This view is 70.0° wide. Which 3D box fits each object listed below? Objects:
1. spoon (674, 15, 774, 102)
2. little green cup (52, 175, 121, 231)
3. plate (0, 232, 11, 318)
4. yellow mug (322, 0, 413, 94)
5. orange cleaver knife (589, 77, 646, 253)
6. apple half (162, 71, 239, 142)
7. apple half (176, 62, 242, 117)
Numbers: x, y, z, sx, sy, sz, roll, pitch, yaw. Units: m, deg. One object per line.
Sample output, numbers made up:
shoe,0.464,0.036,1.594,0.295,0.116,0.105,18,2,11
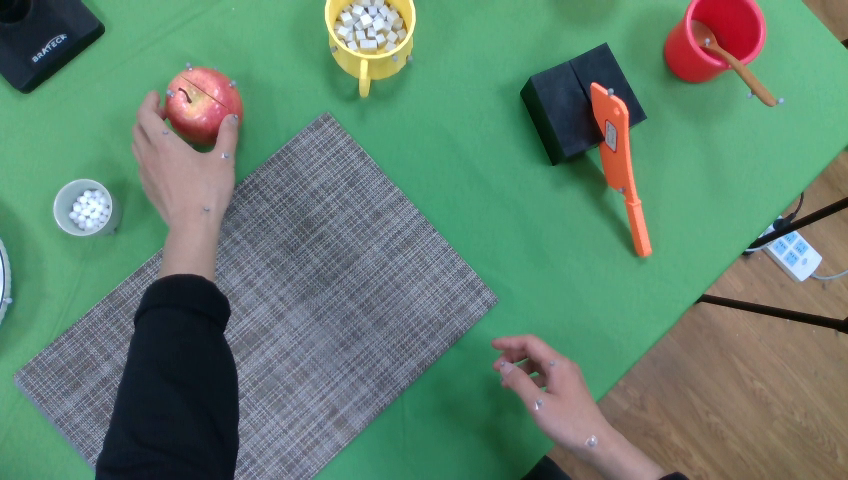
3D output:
spoon,0.339,-0.210,0.687,0.041,0.022,0.191,-7,41,-5
little green cup,-0.365,-0.037,0.662,0.061,0.038,0.061,0,85,-4
plate,-0.541,0.042,0.639,0.208,0.039,0.207,0,85,-5
yellow mug,-0.066,-0.232,0.691,0.100,0.064,0.130,6,85,-5
orange cleaver knife,0.222,-0.083,0.697,0.012,0.076,0.213,-22,117,-3
apple half,-0.250,-0.137,0.663,0.081,0.075,0.053,35,86,2
apple half,-0.228,-0.170,0.667,0.081,0.081,0.033,34,86,-1
